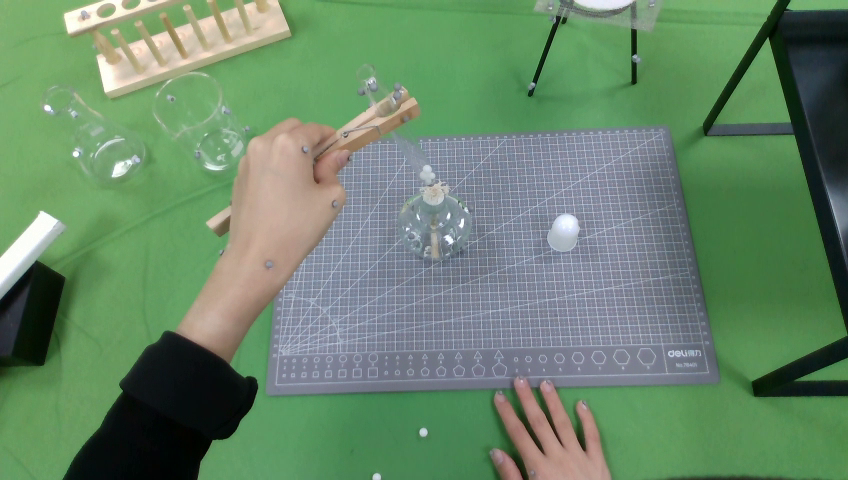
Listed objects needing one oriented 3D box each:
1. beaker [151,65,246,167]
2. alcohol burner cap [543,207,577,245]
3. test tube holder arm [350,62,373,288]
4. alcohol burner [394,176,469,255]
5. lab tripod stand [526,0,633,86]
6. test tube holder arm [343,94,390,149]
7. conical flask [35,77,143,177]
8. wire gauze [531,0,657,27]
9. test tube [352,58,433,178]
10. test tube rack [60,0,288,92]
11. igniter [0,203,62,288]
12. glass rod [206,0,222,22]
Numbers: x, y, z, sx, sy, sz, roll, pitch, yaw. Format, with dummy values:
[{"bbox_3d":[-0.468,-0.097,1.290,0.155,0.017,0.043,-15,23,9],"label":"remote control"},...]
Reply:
[{"bbox_3d":[-0.249,-0.132,0.681,0.074,0.101,0.083,12,69,9],"label":"beaker"},{"bbox_3d":[0.146,-0.017,0.643,0.034,0.048,0.033,-1,67,2],"label":"alcohol burner cap"},{"bbox_3d":[-0.051,-0.049,0.483,0.015,0.013,0.178,-2,98,-25],"label":"test tube holder arm"},{"bbox_3d":[0.007,-0.031,0.616,0.078,0.120,0.077,0,66,1],"label":"alcohol burner"},{"bbox_3d":[0.183,-0.251,0.691,0.148,0.132,0.147,0,66,1],"label":"lab tripod stand"},{"bbox_3d":[-0.046,-0.087,0.468,0.015,0.088,0.010,2,72,-21],"label":"test tube holder arm"},{"bbox_3d":[-0.375,-0.128,0.673,0.075,0.123,0.075,-1,67,3],"label":"conical flask"},{"bbox_3d":[0.187,-0.279,0.629,0.121,0.011,0.124,19,70,8],"label":"wire gauze"},{"bbox_3d":[-0.020,-0.091,0.486,0.017,0.152,0.017,-8,63,16],"label":"test tube"},{"bbox_3d":[-0.302,-0.273,0.750,0.242,0.086,0.066,-21,68,-6],"label":"test tube rack"},{"bbox_3d":[-0.463,0.079,0.591,0.057,0.025,0.275,25,70,22],"label":"igniter"},{"bbox_3d":[-0.282,-0.333,0.701,0.008,0.201,0.008,-4,61,8],"label":"glass rod"}]
